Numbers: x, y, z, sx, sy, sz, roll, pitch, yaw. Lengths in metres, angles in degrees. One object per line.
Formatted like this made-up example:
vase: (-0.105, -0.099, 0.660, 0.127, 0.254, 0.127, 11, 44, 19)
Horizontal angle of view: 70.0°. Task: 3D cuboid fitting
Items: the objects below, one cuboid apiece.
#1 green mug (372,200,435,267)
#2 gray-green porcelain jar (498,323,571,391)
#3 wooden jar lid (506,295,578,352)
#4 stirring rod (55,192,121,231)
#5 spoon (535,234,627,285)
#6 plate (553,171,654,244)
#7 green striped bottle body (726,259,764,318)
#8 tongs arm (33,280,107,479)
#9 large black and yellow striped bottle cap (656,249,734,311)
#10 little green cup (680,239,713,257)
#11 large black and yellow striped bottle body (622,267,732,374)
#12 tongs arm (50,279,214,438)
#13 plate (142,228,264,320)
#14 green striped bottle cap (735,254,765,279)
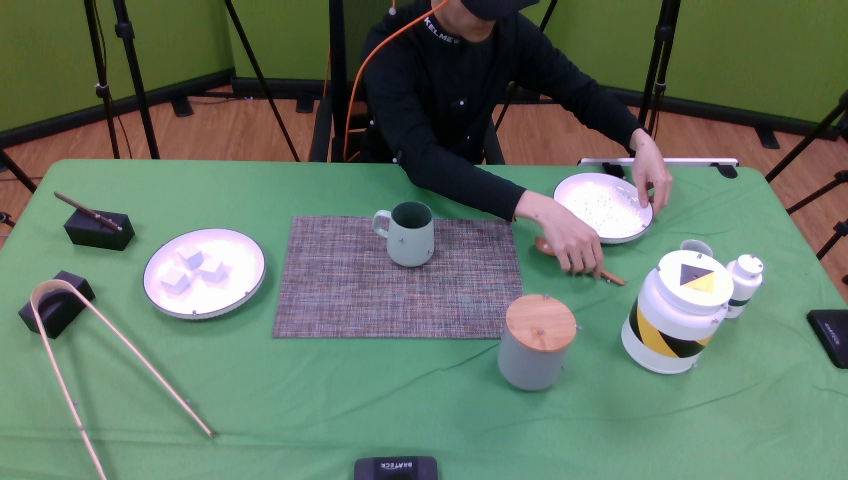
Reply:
green mug: (-0.040, -0.016, 1.146, 0.125, 0.105, 0.092, 17, 48, 13)
gray-green porcelain jar: (0.176, 0.172, 0.971, 0.106, 0.127, 0.105, 2, 46, -2)
wooden jar lid: (0.179, 0.129, 0.925, 0.108, 0.021, 0.107, 2, 43, -2)
stirring rod: (-0.632, -0.055, 1.138, 0.175, 0.014, 0.006, 24, 50, 19)
spoon: (0.303, 0.040, 1.178, 0.193, 0.022, 0.041, 27, 48, 20)
plate: (0.373, -0.065, 1.274, 0.209, 0.038, 0.208, 2, 46, -2)
green striped bottle body: (0.563, 0.081, 1.089, 0.063, 0.120, 0.063, 2, 46, -2)
tongs arm: (-0.517, 0.214, 0.909, 0.051, 0.026, 0.383, -29, 63, -27)
large black and yellow striped bottle cap: (0.419, 0.061, 0.938, 0.115, 0.019, 0.114, 2, 47, -2)
little green cup: (0.530, 0.033, 1.189, 0.061, 0.039, 0.061, 2, 47, -2)
large black and yellow striped bottle body: (0.415, 0.119, 0.997, 0.131, 0.185, 0.130, 2, 46, -2)
tongs arm: (-0.459, 0.178, 0.949, 0.386, 0.028, 0.028, 37, 60, 17)
plate: (-0.394, 0.064, 1.095, 0.208, 0.039, 0.206, 2, 46, -2)
green striped bottle cap: (0.566, 0.046, 1.051, 0.044, 0.020, 0.044, 0, 45, 0)
